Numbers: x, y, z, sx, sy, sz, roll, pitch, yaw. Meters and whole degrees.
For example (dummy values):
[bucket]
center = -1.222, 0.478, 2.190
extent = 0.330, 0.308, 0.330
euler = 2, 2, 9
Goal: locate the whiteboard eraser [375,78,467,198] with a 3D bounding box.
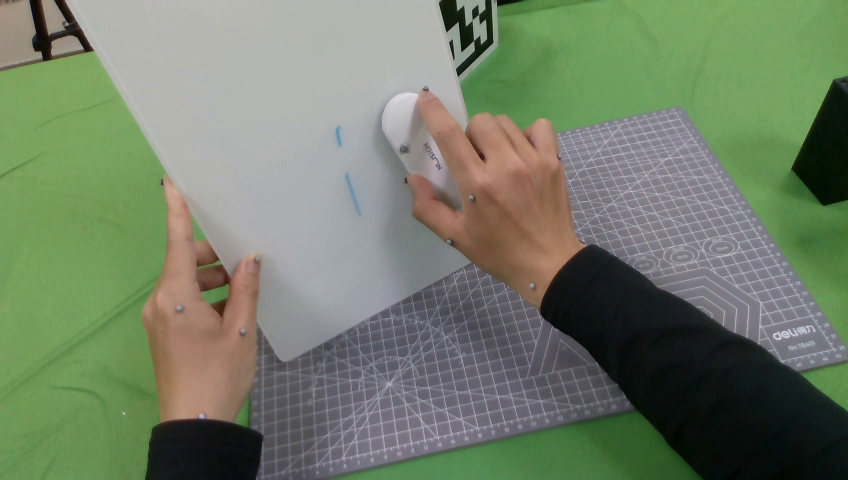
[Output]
[whiteboard eraser]
center = -0.001, -0.075, 0.456
extent = 0.041, 0.102, 0.018
euler = -37, 33, -5

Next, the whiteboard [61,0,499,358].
[whiteboard]
center = -0.096, -0.101, 0.489
extent = 0.217, 0.308, 0.142
euler = -28, 35, -12
